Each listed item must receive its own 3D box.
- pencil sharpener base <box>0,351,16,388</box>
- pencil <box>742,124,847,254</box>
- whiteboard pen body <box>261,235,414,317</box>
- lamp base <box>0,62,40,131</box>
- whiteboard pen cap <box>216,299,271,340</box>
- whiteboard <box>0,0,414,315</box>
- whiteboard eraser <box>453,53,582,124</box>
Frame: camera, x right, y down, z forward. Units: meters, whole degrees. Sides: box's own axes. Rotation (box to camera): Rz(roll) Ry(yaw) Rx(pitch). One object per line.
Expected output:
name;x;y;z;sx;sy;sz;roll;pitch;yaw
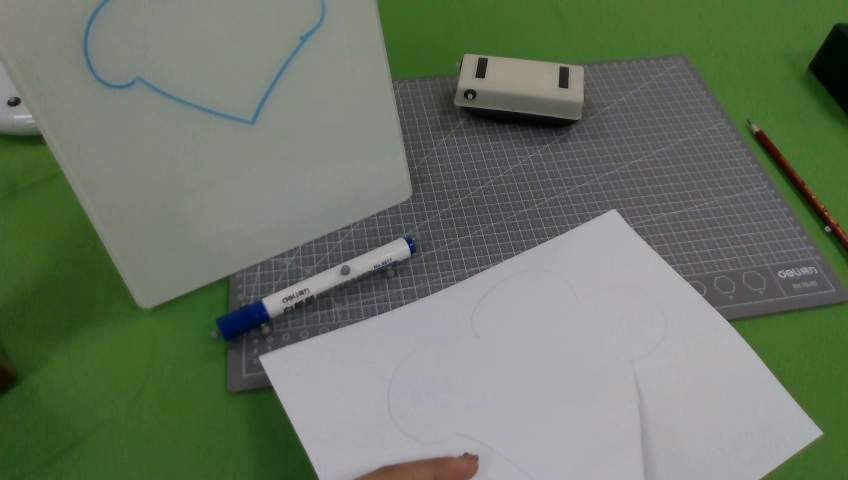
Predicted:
pencil sharpener base;-0.302;0.063;0.338;0.061;0.108;0.076;33;59;20
pencil;0.322;-0.036;0.509;0.012;0.012;0.192;-10;52;-10
whiteboard pen body;-0.070;0.029;0.425;0.141;0.017;0.017;-24;58;-19
lamp base;-0.349;-0.208;0.493;0.178;0.182;0.160;26;56;19
whiteboard pen cap;-0.121;0.053;0.406;0.033;0.018;0.018;-26;58;-19
whiteboard;-0.155;-0.143;0.414;0.217;0.308;0.142;-24;38;-18
whiteboard eraser;0.085;-0.135;0.546;0.112;0.042;0.055;8;54;3
